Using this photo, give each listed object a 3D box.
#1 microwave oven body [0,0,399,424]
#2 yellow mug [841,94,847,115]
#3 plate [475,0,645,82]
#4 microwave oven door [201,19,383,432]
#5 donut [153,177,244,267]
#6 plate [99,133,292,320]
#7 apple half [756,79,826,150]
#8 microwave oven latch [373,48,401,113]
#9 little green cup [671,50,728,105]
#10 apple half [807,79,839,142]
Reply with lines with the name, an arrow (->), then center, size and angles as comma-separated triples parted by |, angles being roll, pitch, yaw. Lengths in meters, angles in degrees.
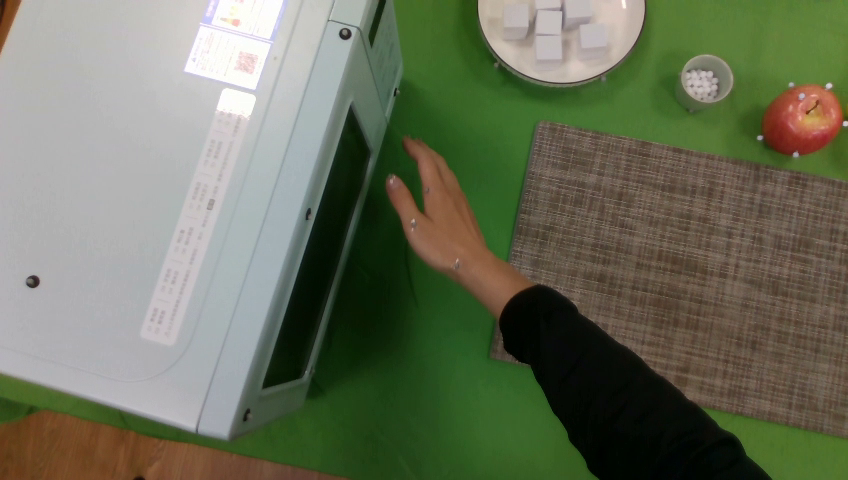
microwave oven body -> -0.245, -0.081, 0.628 | 0.326, 0.261, 0.440 | 15, 84, 3
yellow mug -> 0.562, -0.145, 0.715 | 0.130, 0.064, 0.100 | 23, 83, 5
plate -> 0.168, -0.294, 0.760 | 0.207, 0.039, 0.207 | 0, 82, 2
microwave oven door -> -0.116, -0.003, 0.609 | 0.039, 0.244, 0.355 | 15, 83, 4
donut -> -0.245, -0.019, 0.659 | 0.099, 0.048, 0.099 | 0, 84, 3
plate -> -0.248, -0.014, 0.672 | 0.209, 0.038, 0.208 | 0, 83, 1
apple half -> 0.425, -0.143, 0.716 | 0.053, 0.075, 0.080 | -14, 86, 4
microwave oven latch -> -0.050, -0.197, 0.735 | 0.030, 0.029, 0.079 | 17, 84, 4
little green cup -> 0.335, -0.197, 0.743 | 0.061, 0.039, 0.061 | 0, 82, 2
apple half -> 0.463, -0.153, 0.715 | 0.033, 0.081, 0.081 | -15, 82, 5
